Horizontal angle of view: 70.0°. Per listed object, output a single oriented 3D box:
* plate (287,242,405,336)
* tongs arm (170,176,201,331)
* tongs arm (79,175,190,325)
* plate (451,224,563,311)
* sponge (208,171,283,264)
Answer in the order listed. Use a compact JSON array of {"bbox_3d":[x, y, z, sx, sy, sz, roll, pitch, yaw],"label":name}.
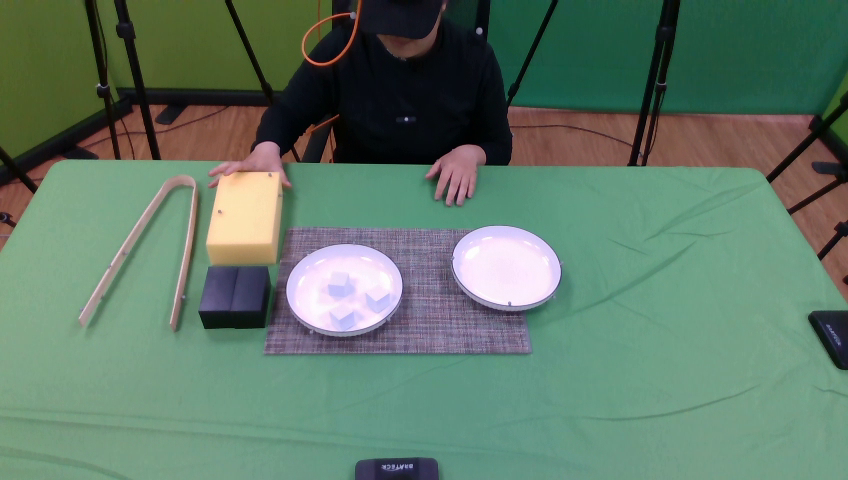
[{"bbox_3d":[-0.138,0.090,1.085,0.208,0.039,0.206,2,46,-2],"label":"plate"},{"bbox_3d":[-0.453,0.010,1.151,0.028,0.028,0.385,-6,47,-6],"label":"tongs arm"},{"bbox_3d":[-0.534,0.005,1.145,0.051,0.026,0.382,6,45,0],"label":"tongs arm"},{"bbox_3d":[0.154,0.053,1.140,0.209,0.038,0.208,2,47,-2],"label":"plate"},{"bbox_3d":[-0.346,-0.048,1.191,0.118,0.061,0.205,-2,46,-7],"label":"sponge"}]
